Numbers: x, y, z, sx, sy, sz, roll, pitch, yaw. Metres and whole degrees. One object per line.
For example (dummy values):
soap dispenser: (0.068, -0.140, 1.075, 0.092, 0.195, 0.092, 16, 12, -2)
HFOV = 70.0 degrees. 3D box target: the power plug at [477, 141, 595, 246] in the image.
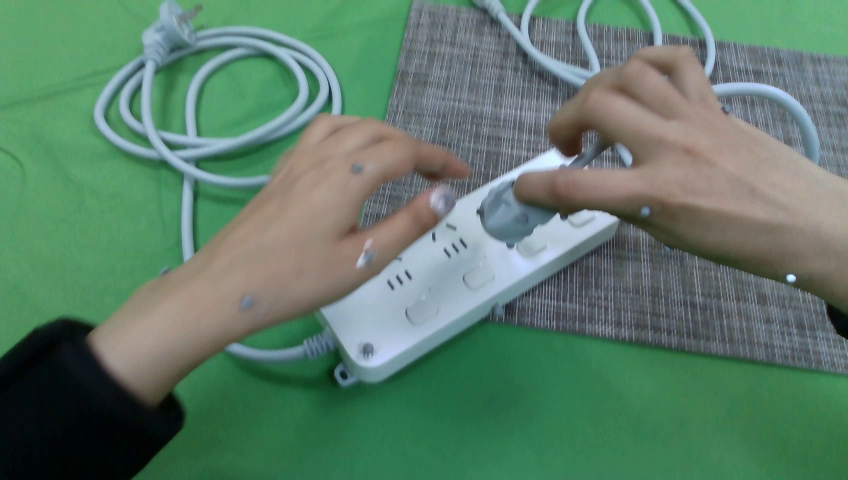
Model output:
power plug: (0.064, -0.025, 0.349, 0.072, 0.052, 0.035, -31, 107, -8)

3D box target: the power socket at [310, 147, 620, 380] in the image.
power socket: (0.031, 0.008, 0.395, 0.227, 0.033, 0.071, -29, 64, -18)
